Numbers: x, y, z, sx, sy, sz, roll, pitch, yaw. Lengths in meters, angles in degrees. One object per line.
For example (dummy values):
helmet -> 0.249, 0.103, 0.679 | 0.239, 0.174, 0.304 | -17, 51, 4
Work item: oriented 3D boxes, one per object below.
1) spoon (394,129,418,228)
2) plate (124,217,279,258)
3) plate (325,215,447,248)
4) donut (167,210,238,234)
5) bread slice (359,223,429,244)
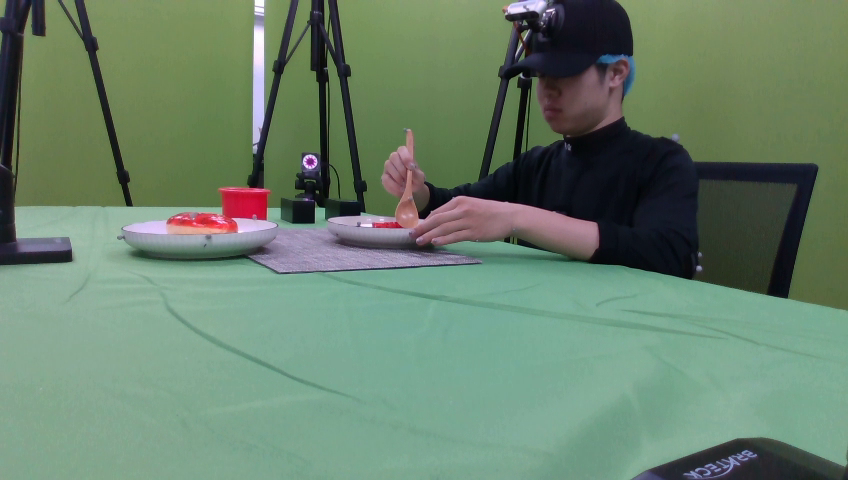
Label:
spoon -> -0.027, -0.108, 1.035 | 0.042, 0.193, 0.021 | 8, -20, -14
plate -> -0.315, -0.004, 0.871 | 0.208, 0.039, 0.207 | 1, 8, 0
plate -> -0.065, -0.015, 1.035 | 0.209, 0.038, 0.209 | 3, 7, 0
donut -> -0.321, -0.017, 0.882 | 0.099, 0.048, 0.099 | 3, 6, 0
bread slice -> -0.062, -0.011, 1.035 | 0.105, 0.019, 0.131 | 0, 11, -20
